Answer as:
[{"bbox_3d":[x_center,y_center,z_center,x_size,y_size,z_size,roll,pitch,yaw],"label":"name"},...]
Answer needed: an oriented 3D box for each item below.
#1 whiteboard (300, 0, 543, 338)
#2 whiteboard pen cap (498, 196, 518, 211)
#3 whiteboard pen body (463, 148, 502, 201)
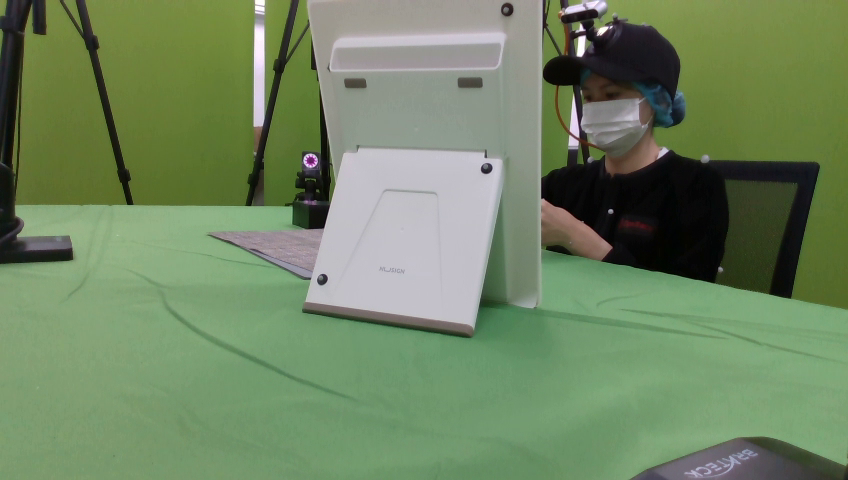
[{"bbox_3d":[-0.020,-0.050,0.523,0.216,0.305,0.144,6,27,22],"label":"whiteboard"},{"bbox_3d":[0.139,-0.061,1.004,0.018,0.018,0.033,-4,27,-38],"label":"whiteboard pen cap"},{"bbox_3d":[0.102,-0.114,1.056,0.017,0.017,0.140,-2,45,-31],"label":"whiteboard pen body"}]
